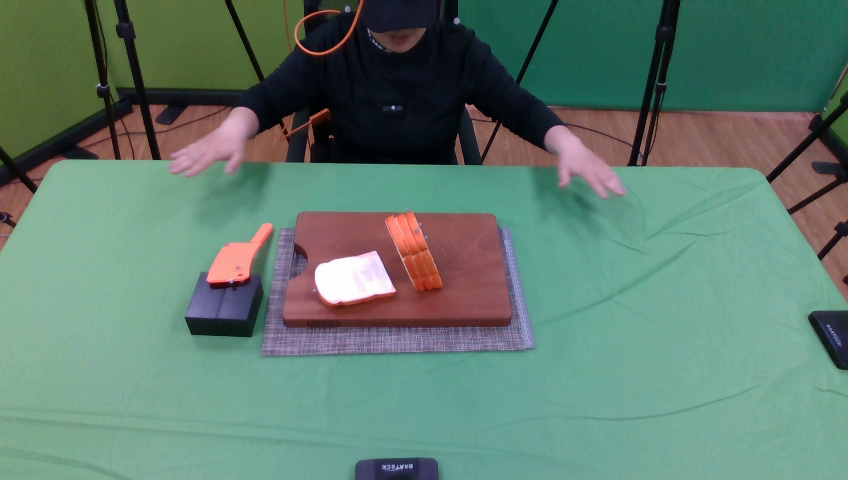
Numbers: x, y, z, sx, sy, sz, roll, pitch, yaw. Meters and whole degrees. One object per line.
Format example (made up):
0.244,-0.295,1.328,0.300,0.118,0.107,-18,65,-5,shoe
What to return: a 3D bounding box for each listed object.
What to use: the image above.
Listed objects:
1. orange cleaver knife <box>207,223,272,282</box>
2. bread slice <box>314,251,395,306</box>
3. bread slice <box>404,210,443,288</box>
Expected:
-0.337,0.020,1.122,0.077,0.012,0.210,3,30,3,orange cleaver knife
-0.130,0.071,1.077,0.132,0.019,0.104,-11,49,-20,bread slice
-0.003,0.013,1.073,0.018,0.135,0.106,-23,50,-2,bread slice
